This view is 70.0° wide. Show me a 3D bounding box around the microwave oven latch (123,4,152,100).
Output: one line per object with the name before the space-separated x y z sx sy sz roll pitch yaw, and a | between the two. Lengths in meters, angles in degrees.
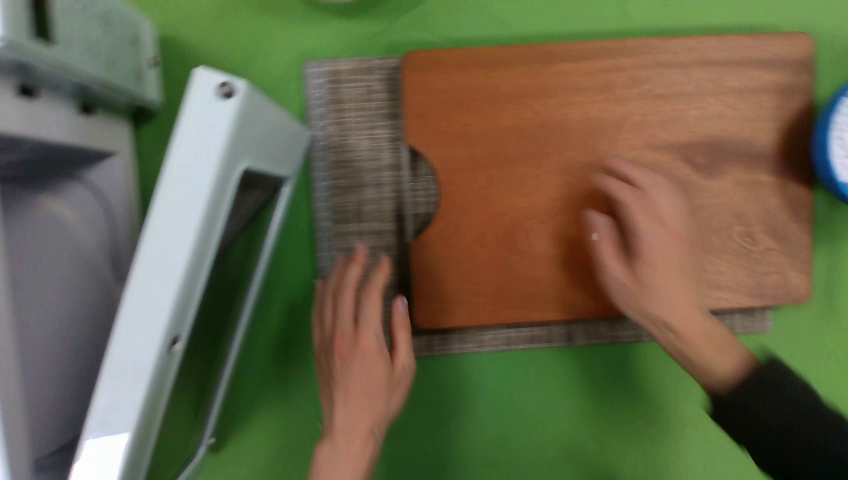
microwave oven latch | -0.271 -0.170 0.553 0.030 0.029 0.079 -6 96 -2

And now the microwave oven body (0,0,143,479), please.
microwave oven body | -0.396 0.029 0.470 0.326 0.259 0.442 -7 96 -2

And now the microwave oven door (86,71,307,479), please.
microwave oven door | -0.177 0.061 0.478 0.039 0.243 0.356 17 94 -3

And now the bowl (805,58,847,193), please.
bowl | 0.431 -0.110 0.585 0.151 0.076 0.151 0 96 -2
